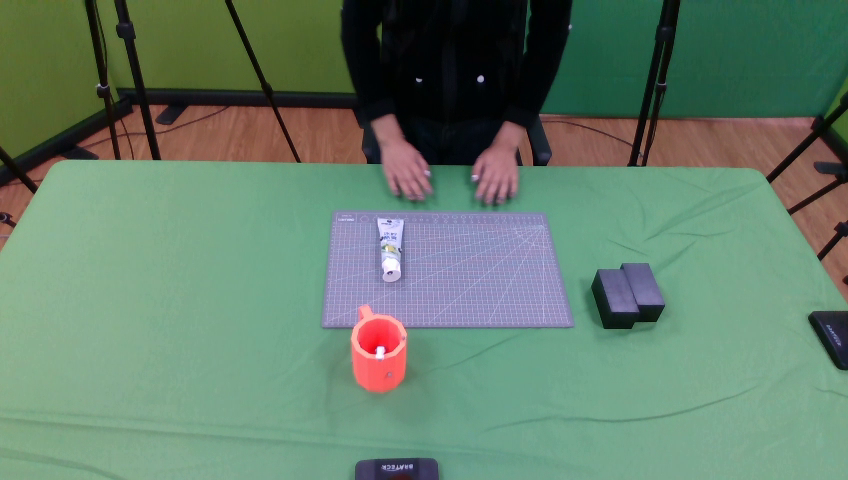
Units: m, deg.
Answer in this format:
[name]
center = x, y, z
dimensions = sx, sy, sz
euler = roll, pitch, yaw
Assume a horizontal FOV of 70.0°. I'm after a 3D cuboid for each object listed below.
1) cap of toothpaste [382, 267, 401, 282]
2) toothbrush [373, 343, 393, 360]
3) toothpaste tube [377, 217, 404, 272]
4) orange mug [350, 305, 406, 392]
[cap of toothpaste]
center = -0.060, 0.063, 1.119
dimensions = 0.037, 0.037, 0.011
euler = -9, 50, -12
[toothbrush]
center = -0.062, 0.167, 0.925
dimensions = 0.014, 0.182, 0.016
euler = -20, 84, 0
[toothpaste tube]
center = -0.063, 0.008, 1.179
dimensions = 0.055, 0.034, 0.164
euler = 5, 42, -9
[orange mug]
center = -0.080, 0.168, 0.978
dimensions = 0.083, 0.101, 0.125
euler = -16, 54, -18
